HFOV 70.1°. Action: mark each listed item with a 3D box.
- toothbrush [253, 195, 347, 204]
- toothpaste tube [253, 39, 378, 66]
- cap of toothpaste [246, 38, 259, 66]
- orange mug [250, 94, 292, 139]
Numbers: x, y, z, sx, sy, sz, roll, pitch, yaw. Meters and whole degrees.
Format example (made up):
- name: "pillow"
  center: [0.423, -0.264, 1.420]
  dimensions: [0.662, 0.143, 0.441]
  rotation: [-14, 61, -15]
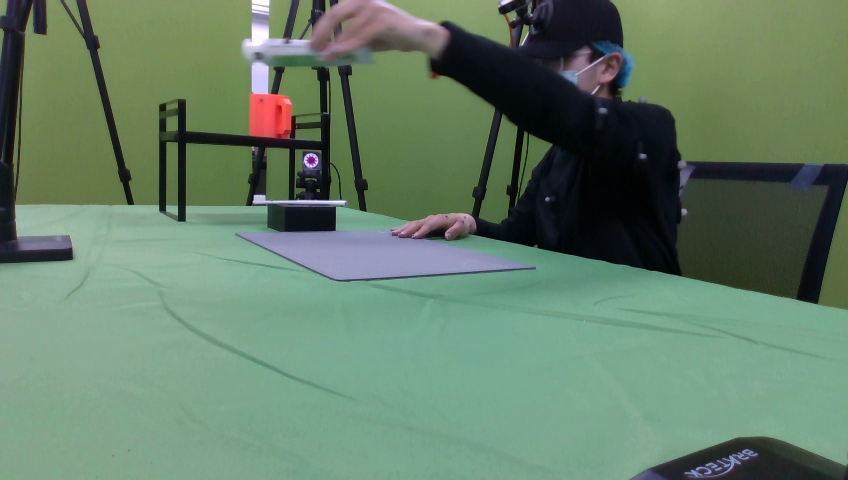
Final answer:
- name: "toothbrush"
  center: [-0.234, -0.076, 1.154]
  dimensions: [0.183, 0.016, 0.014]
  rotation: [-1, 5, -27]
- name: "toothpaste tube"
  center: [-0.146, -0.246, 0.793]
  dimensions: [0.165, 0.034, 0.055]
  rotation: [2, -2, 4]
- name: "cap of toothpaste"
  center: [-0.224, -0.249, 0.801]
  dimensions: [0.011, 0.037, 0.037]
  rotation: [2, 8, 4]
- name: "orange mug"
  center: [-0.339, -0.279, 1.364]
  dimensions: [0.125, 0.100, 0.084]
  rotation: [4, 6, 45]
